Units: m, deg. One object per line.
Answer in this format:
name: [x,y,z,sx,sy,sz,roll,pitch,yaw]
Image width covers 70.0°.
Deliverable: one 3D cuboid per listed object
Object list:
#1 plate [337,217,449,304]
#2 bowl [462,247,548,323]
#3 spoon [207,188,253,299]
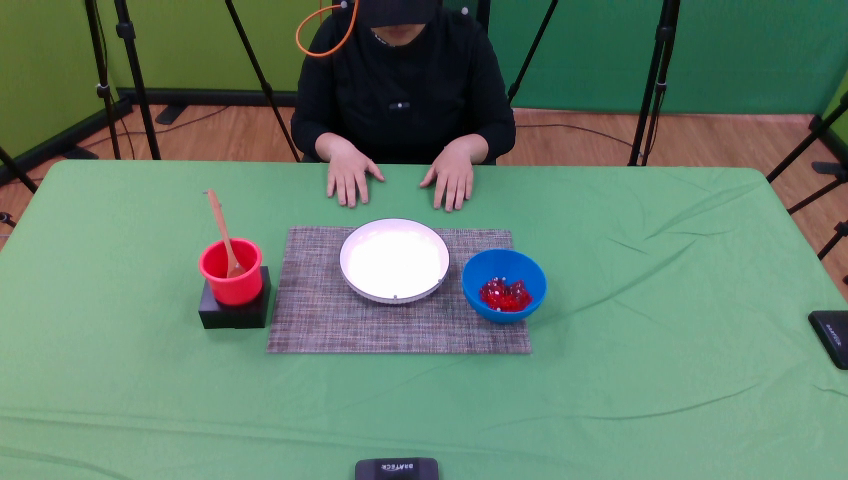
plate: [-0.058,0.042,1.136,0.208,0.039,0.206,2,46,-2]
bowl: [0.138,0.093,1.072,0.151,0.077,0.150,2,46,-2]
spoon: [-0.328,0.005,1.013,0.042,0.021,0.193,-16,93,-19]
